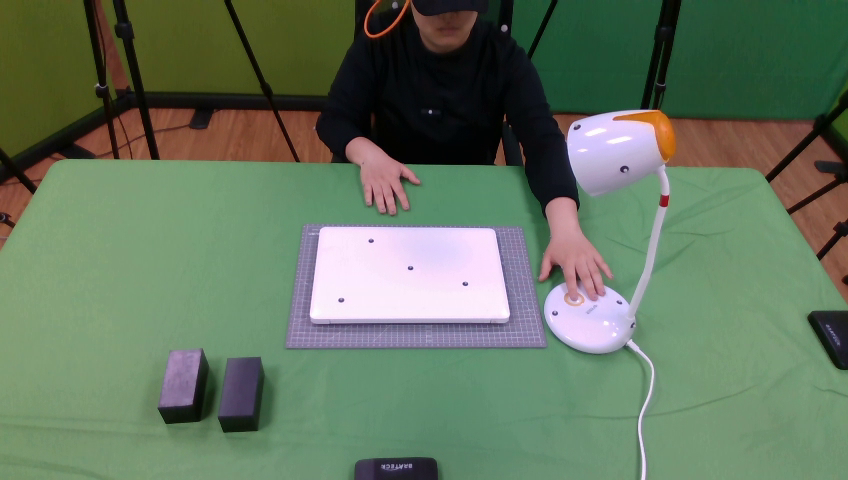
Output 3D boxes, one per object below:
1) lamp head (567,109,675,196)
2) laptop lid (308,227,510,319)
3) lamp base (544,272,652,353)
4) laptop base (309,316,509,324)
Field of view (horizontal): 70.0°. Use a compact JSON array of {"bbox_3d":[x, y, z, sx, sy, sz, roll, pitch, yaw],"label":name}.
[{"bbox_3d":[0.272,-0.123,0.818,0.122,0.113,0.112,-9,35,37],"label":"lamp head"},{"bbox_3d":[-0.028,0.055,1.129,0.357,0.013,0.240,2,44,-3],"label":"laptop lid"},{"bbox_3d":[0.310,0.086,1.029,0.178,0.181,0.160,32,52,21],"label":"lamp base"},{"bbox_3d":[-0.028,0.065,1.136,0.355,0.023,0.234,0,43,-4],"label":"laptop base"}]
